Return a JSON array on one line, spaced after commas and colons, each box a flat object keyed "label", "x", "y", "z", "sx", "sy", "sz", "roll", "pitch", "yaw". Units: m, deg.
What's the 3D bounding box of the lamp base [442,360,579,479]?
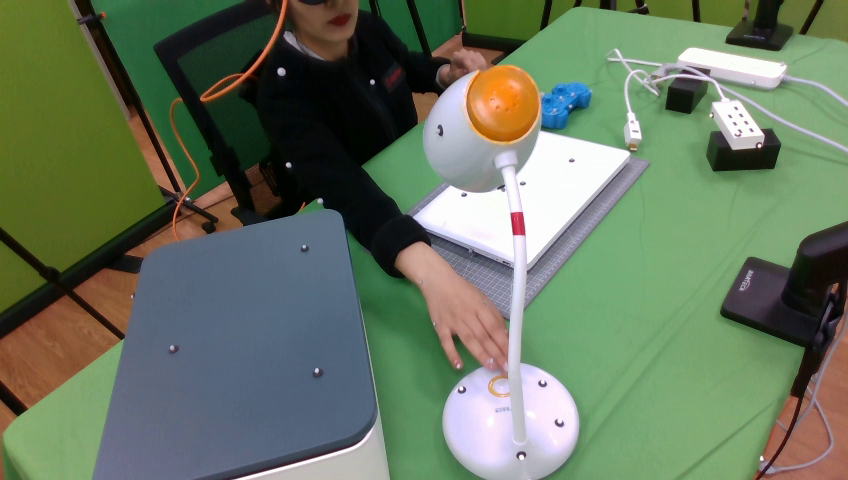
[{"label": "lamp base", "x": 0.094, "y": 0.158, "z": 0.657, "sx": 0.161, "sy": 0.181, "sz": 0.178, "roll": -13, "pitch": 42, "yaw": -5}]

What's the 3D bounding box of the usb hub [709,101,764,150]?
[{"label": "usb hub", "x": 0.534, "y": -0.199, "z": 1.040, "sx": 0.049, "sy": 0.025, "sz": 0.124, "roll": -5, "pitch": 39, "yaw": 8}]

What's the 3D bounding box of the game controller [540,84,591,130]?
[{"label": "game controller", "x": 0.277, "y": -0.282, "z": 1.251, "sx": 0.096, "sy": 0.052, "sz": 0.155, "roll": 27, "pitch": 52, "yaw": 30}]

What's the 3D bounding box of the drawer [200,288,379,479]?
[{"label": "drawer", "x": -0.172, "y": 0.176, "z": 0.760, "sx": 0.195, "sy": 0.073, "sz": 0.210, "roll": -13, "pitch": 42, "yaw": -8}]

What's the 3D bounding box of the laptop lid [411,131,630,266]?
[{"label": "laptop lid", "x": 0.172, "y": -0.094, "z": 1.050, "sx": 0.239, "sy": 0.013, "sz": 0.358, "roll": 23, "pitch": 49, "yaw": 36}]

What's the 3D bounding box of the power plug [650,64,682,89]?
[{"label": "power plug", "x": 0.498, "y": -0.341, "z": 1.263, "sx": 0.035, "sy": 0.052, "sz": 0.072, "roll": 20, "pitch": 10, "yaw": -6}]

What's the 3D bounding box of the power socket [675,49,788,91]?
[{"label": "power socket", "x": 0.647, "y": -0.363, "z": 1.284, "sx": 0.225, "sy": 0.033, "sz": 0.072, "roll": 26, "pitch": 52, "yaw": 34}]

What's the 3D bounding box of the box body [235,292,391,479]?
[{"label": "box body", "x": -0.190, "y": 0.161, "z": 0.723, "sx": 0.255, "sy": 0.161, "sz": 0.361, "roll": -13, "pitch": 40, "yaw": -5}]

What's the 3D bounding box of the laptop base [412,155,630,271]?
[{"label": "laptop base", "x": 0.176, "y": -0.085, "z": 1.056, "sx": 0.233, "sy": 0.023, "sz": 0.355, "roll": 20, "pitch": 48, "yaw": 36}]

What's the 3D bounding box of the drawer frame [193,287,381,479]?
[{"label": "drawer frame", "x": -0.172, "y": 0.176, "z": 0.755, "sx": 0.202, "sy": 0.083, "sz": 0.212, "roll": -14, "pitch": 42, "yaw": -7}]

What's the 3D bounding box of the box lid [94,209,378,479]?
[{"label": "box lid", "x": -0.202, "y": 0.094, "z": 0.680, "sx": 0.264, "sy": 0.015, "sz": 0.368, "roll": -13, "pitch": 39, "yaw": -5}]

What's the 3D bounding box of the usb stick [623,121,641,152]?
[{"label": "usb stick", "x": 0.389, "y": -0.191, "z": 1.129, "sx": 0.021, "sy": 0.027, "sz": 0.059, "roll": 7, "pitch": 62, "yaw": -8}]

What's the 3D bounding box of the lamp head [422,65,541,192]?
[{"label": "lamp head", "x": 0.060, "y": -0.106, "z": 0.560, "sx": 0.113, "sy": 0.112, "sz": 0.122, "roll": -16, "pitch": 0, "yaw": -8}]
